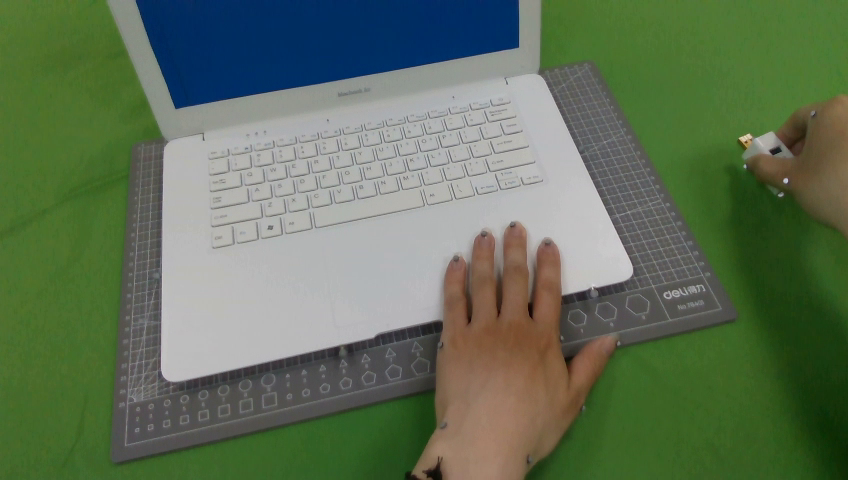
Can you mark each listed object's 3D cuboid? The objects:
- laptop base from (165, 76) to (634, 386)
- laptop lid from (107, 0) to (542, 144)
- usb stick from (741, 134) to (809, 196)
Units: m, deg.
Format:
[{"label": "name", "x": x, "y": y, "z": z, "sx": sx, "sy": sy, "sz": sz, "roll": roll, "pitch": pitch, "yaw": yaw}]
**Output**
[{"label": "laptop base", "x": -0.034, "y": -0.023, "z": 0.505, "sx": 0.355, "sy": 0.023, "sz": 0.233, "roll": -12, "pitch": 60, "yaw": -6}, {"label": "laptop lid", "x": -0.073, "y": -0.209, "z": 0.496, "sx": 0.357, "sy": 0.244, "sz": 0.013, "roll": -13, "pitch": 39, "yaw": -4}, {"label": "usb stick", "x": 0.285, "y": -0.066, "z": 0.498, "sx": 0.021, "sy": 0.027, "sz": 0.058, "roll": -30, "pitch": 59, "yaw": 5}]
